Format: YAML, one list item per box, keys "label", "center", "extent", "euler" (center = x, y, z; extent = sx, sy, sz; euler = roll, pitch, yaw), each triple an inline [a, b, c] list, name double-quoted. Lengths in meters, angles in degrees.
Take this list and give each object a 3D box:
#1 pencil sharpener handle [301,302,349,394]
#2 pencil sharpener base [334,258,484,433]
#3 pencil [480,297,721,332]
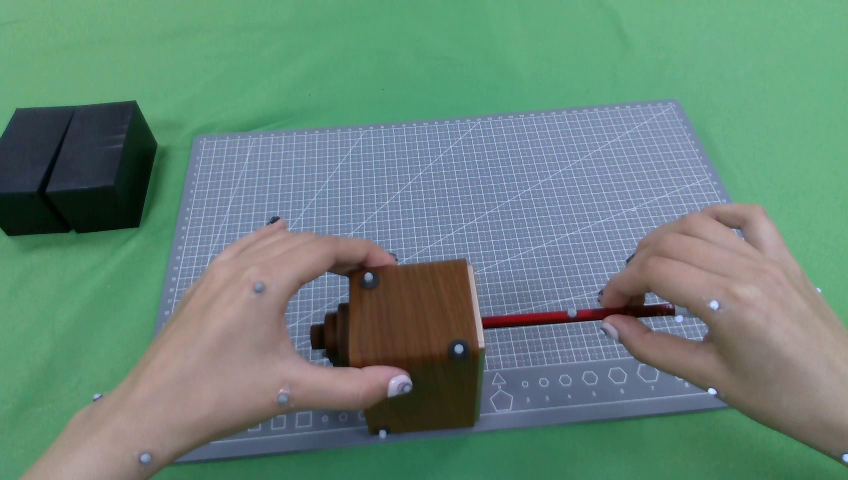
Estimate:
- label: "pencil sharpener handle"
  center: [-0.059, 0.065, 0.345]
  extent: [0.030, 0.068, 0.035]
  euler: [-5, 41, -1]
- label: "pencil sharpener base"
  center: [-0.008, 0.066, 0.359]
  extent: [0.077, 0.108, 0.060]
  euler: [-5, 53, -1]
- label: "pencil"
  center: [0.071, 0.045, 0.341]
  extent: [0.194, 0.012, 0.012]
  euler: [-5, 52, -2]
